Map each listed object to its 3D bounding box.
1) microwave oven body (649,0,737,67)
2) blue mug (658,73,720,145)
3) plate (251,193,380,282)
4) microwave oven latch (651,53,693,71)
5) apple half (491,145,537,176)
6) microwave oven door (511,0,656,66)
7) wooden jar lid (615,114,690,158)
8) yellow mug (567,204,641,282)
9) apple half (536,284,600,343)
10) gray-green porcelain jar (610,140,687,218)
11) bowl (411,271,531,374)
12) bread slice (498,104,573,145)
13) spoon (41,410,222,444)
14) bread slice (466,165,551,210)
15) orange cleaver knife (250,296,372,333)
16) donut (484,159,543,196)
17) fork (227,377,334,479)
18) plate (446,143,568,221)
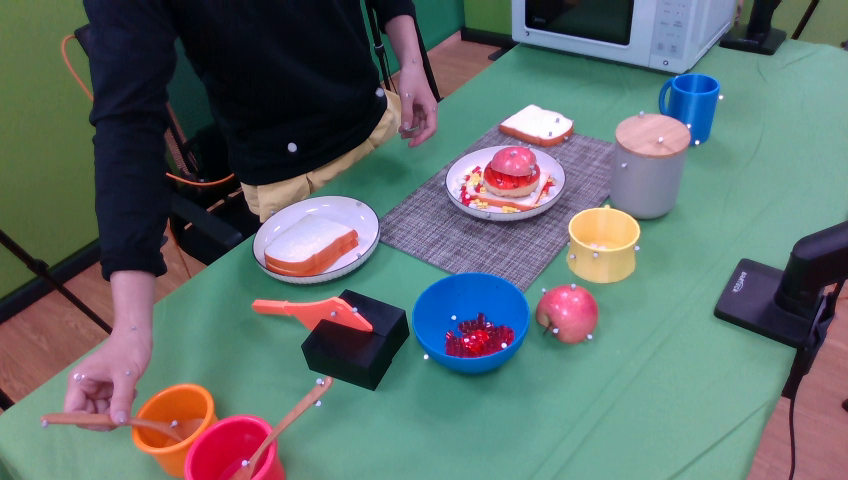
[{"bbox_3d":[0.475,-0.602,1.411,0.438,0.261,0.327,23,50,32],"label":"microwave oven body"},{"bbox_3d":[0.483,-0.250,1.127,0.082,0.106,0.115,-26,44,-19],"label":"blue mug"},{"bbox_3d":[-0.174,-0.001,0.984,0.209,0.038,0.208,-3,40,3],"label":"plate"},{"bbox_3d":[0.532,-0.386,1.301,0.078,0.029,0.030,27,52,34],"label":"microwave oven latch"},{"bbox_3d":[0.149,-0.139,0.995,0.081,0.033,0.081,1,38,0],"label":"apple half"},{"bbox_3d":[0.350,-0.539,1.348,0.353,0.245,0.039,24,50,31],"label":"microwave oven door"},{"bbox_3d":[0.347,-0.155,0.923,0.108,0.021,0.108,-3,44,4],"label":"wooden jar lid"},{"bbox_3d":[0.268,-0.005,0.905,0.099,0.064,0.130,6,41,16],"label":"yellow mug"},{"bbox_3d":[0.196,0.091,0.815,0.075,0.053,0.080,-22,42,-20],"label":"apple half"},{"bbox_3d":[0.354,-0.106,0.964,0.106,0.127,0.105,-4,41,4],"label":"gray-green porcelain jar"},{"bbox_3d":[0.062,0.119,0.780,0.151,0.077,0.150,-4,40,4],"label":"bowl"},{"bbox_3d":[0.231,-0.231,1.205,0.105,0.019,0.130,-36,47,-29],"label":"bread slice"},{"bbox_3d":[-0.319,0.204,0.677,0.021,0.195,0.041,-48,44,17],"label":"spoon"},{"bbox_3d":[0.140,-0.093,1.041,0.133,0.018,0.107,9,43,20],"label":"bread slice"},{"bbox_3d":[-0.158,0.103,0.828,0.210,0.078,0.012,-3,44,39],"label":"orange cleaver knife"},{"bbox_3d":[0.150,-0.112,1.018,0.099,0.048,0.098,-4,40,3],"label":"donut"},{"bbox_3d":[-0.163,0.216,0.647,0.207,0.019,0.028,-49,41,16],"label":"fork"},{"bbox_3d":[0.142,-0.097,1.045,0.207,0.039,0.206,-4,40,4],"label":"plate"}]
